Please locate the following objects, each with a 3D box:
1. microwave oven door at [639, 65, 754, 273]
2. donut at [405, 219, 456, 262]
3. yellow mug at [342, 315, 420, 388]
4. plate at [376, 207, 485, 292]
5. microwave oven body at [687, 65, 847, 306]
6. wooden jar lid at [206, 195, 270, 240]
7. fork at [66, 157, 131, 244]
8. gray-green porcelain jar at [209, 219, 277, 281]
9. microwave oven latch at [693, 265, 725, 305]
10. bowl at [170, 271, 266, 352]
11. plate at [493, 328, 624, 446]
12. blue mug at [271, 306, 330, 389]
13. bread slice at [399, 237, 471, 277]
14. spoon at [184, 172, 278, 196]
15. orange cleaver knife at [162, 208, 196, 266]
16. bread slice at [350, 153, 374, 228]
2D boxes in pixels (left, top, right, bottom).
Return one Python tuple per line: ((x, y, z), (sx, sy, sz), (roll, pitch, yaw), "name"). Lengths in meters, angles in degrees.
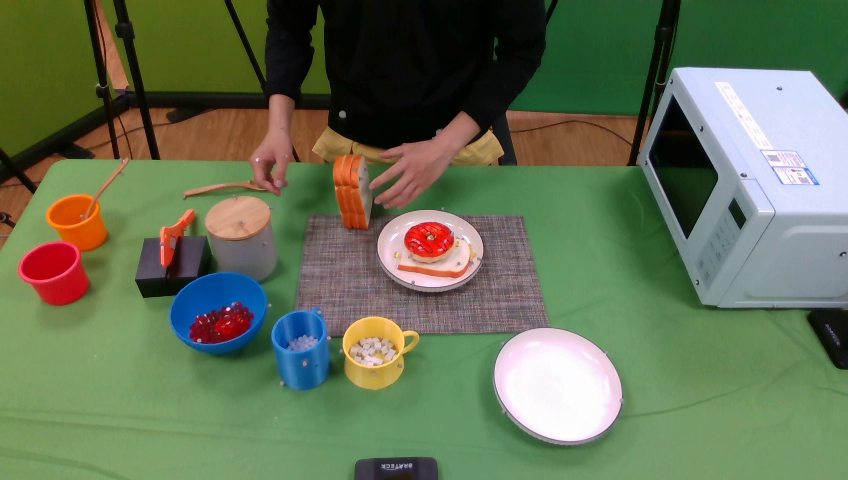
((0.522, -0.147, 1.193), (0.039, 0.245, 0.353), (0, 47, -3), "microwave oven door")
((0.012, -0.001, 1.141), (0.099, 0.048, 0.098), (0, 44, 0), "donut")
((-0.068, 0.177, 0.990), (0.131, 0.064, 0.099), (-15, 50, -19), "yellow mug")
((0.012, 0.021, 1.159), (0.209, 0.038, 0.208), (2, 47, -2), "plate")
((0.669, -0.111, 1.176), (0.326, 0.261, 0.439), (0, 46, -3), "microwave oven body")
((-0.319, -0.036, 1.046), (0.108, 0.021, 0.107), (1, 44, 0), "wooden jar lid")
((-0.608, -0.074, 1.132), (0.207, 0.019, 0.028), (-52, 48, 10), "fork")
((-0.323, 0.007, 1.092), (0.106, 0.127, 0.105), (2, 46, -2), "gray-green porcelain jar")
((0.523, 0.081, 1.115), (0.030, 0.029, 0.078), (2, 46, -1), "microwave oven latch")
((-0.334, 0.132, 1.006), (0.151, 0.077, 0.150), (2, 46, -2), "bowl")
((0.213, 0.236, 0.974), (0.208, 0.039, 0.206), (2, 46, -2), "plate")
((-0.188, 0.163, 0.969), (0.082, 0.106, 0.116), (15, 47, 10), "blue mug")
((0.025, 0.025, 1.161), (0.131, 0.019, 0.104), (7, 47, 8), "bread slice")
((-0.405, -0.116, 1.275), (0.194, 0.022, 0.041), (-8, 66, -12), "spoon")
((-0.454, -0.010, 1.129), (0.012, 0.077, 0.210), (-1, 17, -6), "orange cleaver knife")
((-0.123, -0.104, 1.206), (0.018, 0.135, 0.106), (-3, 47, 7), "bread slice")
